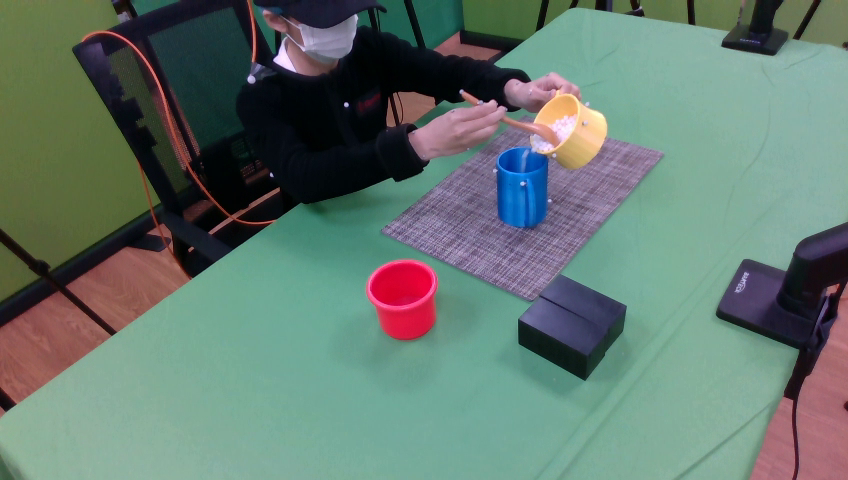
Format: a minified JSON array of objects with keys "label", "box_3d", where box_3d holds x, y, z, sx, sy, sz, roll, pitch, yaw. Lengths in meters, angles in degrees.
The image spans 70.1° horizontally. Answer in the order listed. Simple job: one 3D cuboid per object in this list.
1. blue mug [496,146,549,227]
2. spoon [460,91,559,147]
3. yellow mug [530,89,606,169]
[{"label":"blue mug","box_3d":[0.162,-0.076,0.969,0.082,0.106,0.116,-9,40,-1]},{"label":"spoon","box_3d":[0.132,-0.179,0.908,0.195,0.021,0.041,16,42,-26]},{"label":"yellow mug","box_3d":[0.225,-0.183,0.950,0.099,0.064,0.130,-29,48,46]}]
